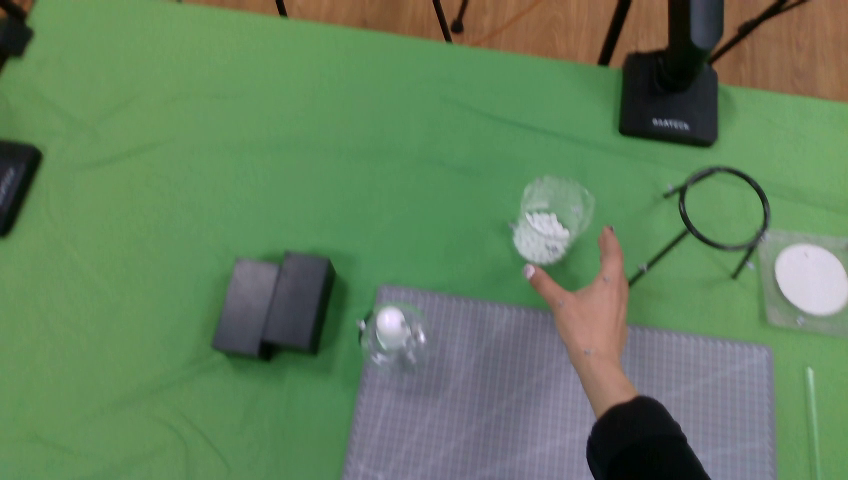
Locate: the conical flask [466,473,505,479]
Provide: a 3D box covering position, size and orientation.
[{"bbox_3d":[0.062,0.259,0.566,0.075,0.122,0.075,0,70,1],"label":"conical flask"}]

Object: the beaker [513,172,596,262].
[{"bbox_3d":[0.142,-0.022,0.680,0.084,0.101,0.073,-15,71,-6],"label":"beaker"}]

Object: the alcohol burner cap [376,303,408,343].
[{"bbox_3d":[-0.032,0.079,0.596,0.034,0.048,0.033,1,63,-2],"label":"alcohol burner cap"}]

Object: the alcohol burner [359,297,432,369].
[{"bbox_3d":[-0.031,0.093,0.629,0.078,0.120,0.077,-1,70,2],"label":"alcohol burner"}]

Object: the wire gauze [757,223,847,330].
[{"bbox_3d":[0.455,0.041,0.705,0.125,0.011,0.121,8,71,1],"label":"wire gauze"}]

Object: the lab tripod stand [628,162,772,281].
[{"bbox_3d":[0.298,-0.013,0.658,0.148,0.132,0.147,0,72,1],"label":"lab tripod stand"}]

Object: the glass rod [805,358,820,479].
[{"bbox_3d":[0.414,0.224,0.640,0.008,0.008,0.198,8,71,3],"label":"glass rod"}]
